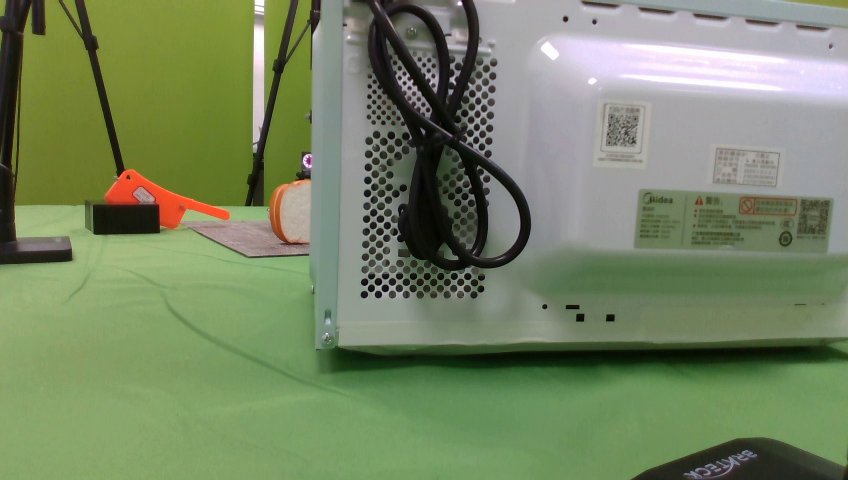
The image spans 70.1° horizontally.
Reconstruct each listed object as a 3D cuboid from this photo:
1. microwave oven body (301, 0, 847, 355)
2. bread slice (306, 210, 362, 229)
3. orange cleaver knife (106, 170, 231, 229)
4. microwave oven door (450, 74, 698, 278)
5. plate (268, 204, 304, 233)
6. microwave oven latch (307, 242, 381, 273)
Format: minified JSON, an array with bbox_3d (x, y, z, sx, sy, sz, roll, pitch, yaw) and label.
[{"bbox_3d":[0.120,-0.053,0.535,0.443,0.260,0.325,2,7,-11],"label":"microwave oven body"},{"bbox_3d":[-0.172,-0.042,1.172,0.107,0.018,0.134,-2,11,-7],"label":"bread slice"},{"bbox_3d":[-0.458,-0.060,1.097,0.212,0.077,0.012,23,-4,-38],"label":"orange cleaver knife"},{"bbox_3d":[0.183,-0.094,0.836,0.354,0.243,0.039,10,10,44],"label":"microwave oven door"},{"bbox_3d":[-0.196,-0.041,1.174,0.208,0.039,0.207,2,9,0],"label":"plate"},{"bbox_3d":[-0.086,0.019,0.656,0.079,0.029,0.030,2,7,-10],"label":"microwave oven latch"}]
